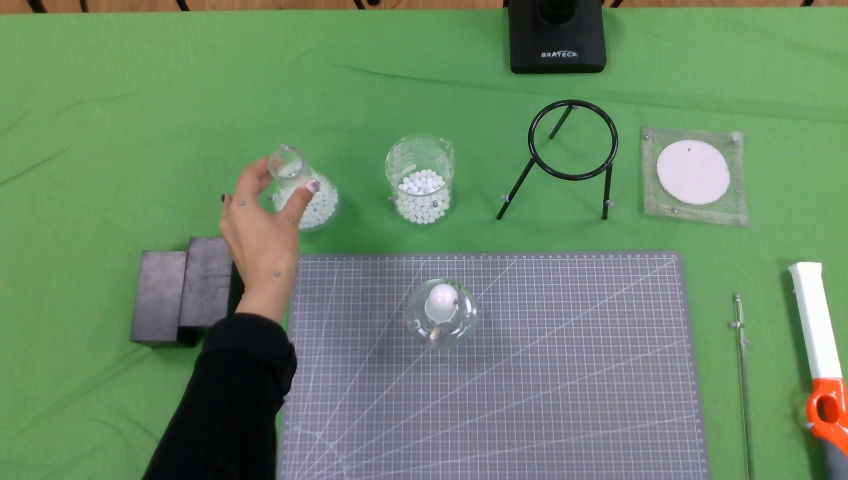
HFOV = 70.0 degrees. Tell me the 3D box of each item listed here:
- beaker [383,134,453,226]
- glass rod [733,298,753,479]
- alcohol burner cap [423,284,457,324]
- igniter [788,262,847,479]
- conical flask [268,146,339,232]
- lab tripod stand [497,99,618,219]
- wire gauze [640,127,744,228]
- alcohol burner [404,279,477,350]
[{"bbox_3d":[-0.002,-0.065,0.685,0.084,0.101,0.073,-40,75,-11],"label":"beaker"},{"bbox_3d":[0.343,0.159,0.651,0.008,0.008,0.198,4,72,3],"label":"glass rod"},{"bbox_3d":[0.017,0.060,0.595,0.034,0.048,0.033,3,65,-5],"label":"alcohol burner cap"},{"bbox_3d":[0.426,0.157,0.640,0.057,0.025,0.275,3,72,-9],"label":"igniter"},{"bbox_3d":[-0.135,-0.058,0.647,0.075,0.122,0.075,0,76,-1],"label":"conical flask"},{"bbox_3d":[0.149,-0.079,0.668,0.148,0.132,0.147,0,74,2],"label":"lab tripod stand"},{"bbox_3d":[0.323,-0.079,0.729,0.125,0.011,0.121,7,73,2],"label":"wire gauze"},{"bbox_3d":[0.017,0.073,0.629,0.078,0.120,0.077,0,71,0],"label":"alcohol burner"}]
